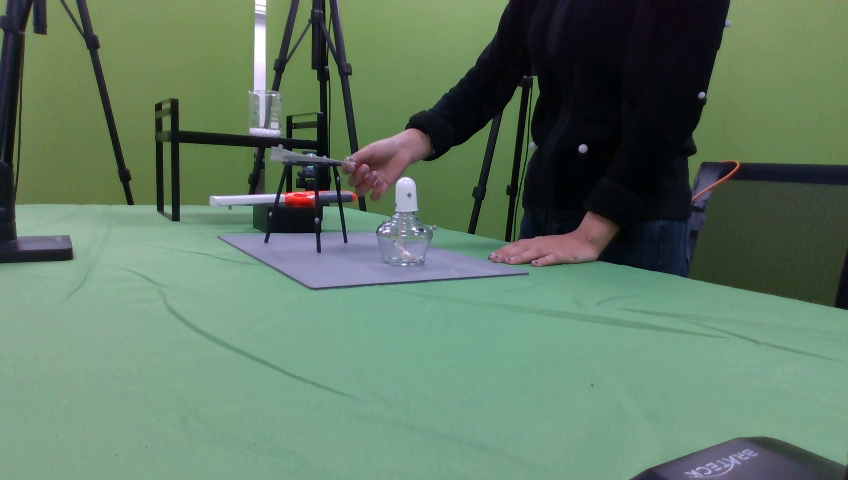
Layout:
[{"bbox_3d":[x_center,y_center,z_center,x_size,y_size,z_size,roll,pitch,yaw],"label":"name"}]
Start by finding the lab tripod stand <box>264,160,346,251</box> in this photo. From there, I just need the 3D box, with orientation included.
[{"bbox_3d":[-0.177,-0.056,0.930,0.148,0.131,0.148,1,8,0],"label":"lab tripod stand"}]

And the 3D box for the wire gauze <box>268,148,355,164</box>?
[{"bbox_3d":[-0.174,-0.124,0.924,0.125,0.011,0.121,4,3,-14],"label":"wire gauze"}]

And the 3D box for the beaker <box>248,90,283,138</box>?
[{"bbox_3d":[-0.354,-0.278,1.340,0.074,0.100,0.084,6,9,26],"label":"beaker"}]

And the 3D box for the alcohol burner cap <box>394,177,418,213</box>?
[{"bbox_3d":[-0.025,-0.060,0.809,0.034,0.048,0.034,-4,10,1],"label":"alcohol burner cap"}]

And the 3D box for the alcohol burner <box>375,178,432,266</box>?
[{"bbox_3d":[-0.026,-0.025,0.815,0.078,0.119,0.078,4,7,0],"label":"alcohol burner"}]

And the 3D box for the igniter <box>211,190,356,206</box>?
[{"bbox_3d":[-0.260,-0.080,1.151,0.278,0.025,0.057,-5,13,-34],"label":"igniter"}]
